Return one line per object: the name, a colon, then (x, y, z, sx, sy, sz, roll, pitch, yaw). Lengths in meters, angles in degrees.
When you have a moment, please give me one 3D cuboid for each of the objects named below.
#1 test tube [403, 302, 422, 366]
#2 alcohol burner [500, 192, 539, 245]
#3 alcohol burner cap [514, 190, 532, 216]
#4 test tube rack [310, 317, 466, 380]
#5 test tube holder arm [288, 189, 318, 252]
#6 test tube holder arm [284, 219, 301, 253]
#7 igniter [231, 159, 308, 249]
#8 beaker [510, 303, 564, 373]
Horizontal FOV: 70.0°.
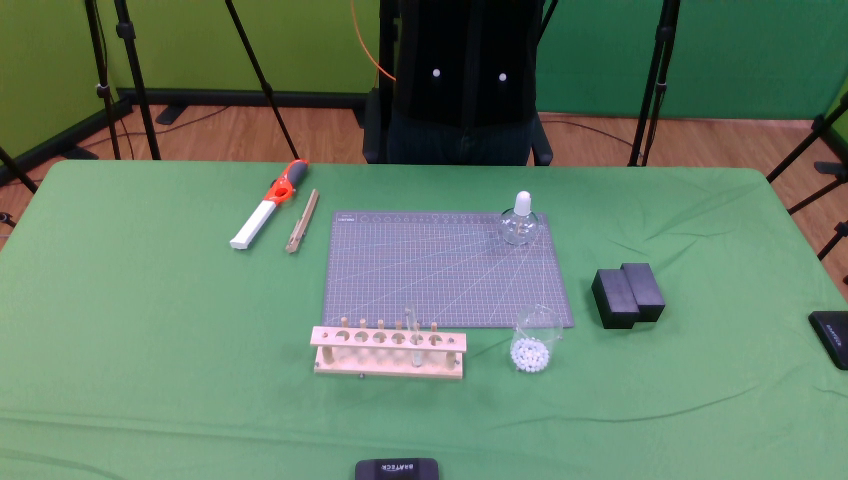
test tube: (-0.017, 0.149, 0.941, 0.017, 0.151, 0.017, -3, 44, 3)
alcohol burner: (0.190, -0.048, 1.190, 0.078, 0.120, 0.077, 1, 47, -1)
alcohol burner cap: (0.192, -0.074, 1.166, 0.034, 0.048, 0.033, 1, 41, -1)
test tube rack: (-0.056, 0.171, 0.986, 0.242, 0.085, 0.066, 3, 45, -1)
test tube holder arm: (-0.242, -0.043, 1.223, 0.013, 0.015, 0.177, -15, 39, 25)
test tube holder arm: (-0.254, -0.010, 1.194, 0.010, 0.015, 0.087, -14, 39, 26)
igniter: (-0.313, -0.082, 1.251, 0.057, 0.025, 0.275, 8, 45, 18)
beaker: (0.182, 0.164, 1.000, 0.074, 0.101, 0.083, 2, 45, -1)
